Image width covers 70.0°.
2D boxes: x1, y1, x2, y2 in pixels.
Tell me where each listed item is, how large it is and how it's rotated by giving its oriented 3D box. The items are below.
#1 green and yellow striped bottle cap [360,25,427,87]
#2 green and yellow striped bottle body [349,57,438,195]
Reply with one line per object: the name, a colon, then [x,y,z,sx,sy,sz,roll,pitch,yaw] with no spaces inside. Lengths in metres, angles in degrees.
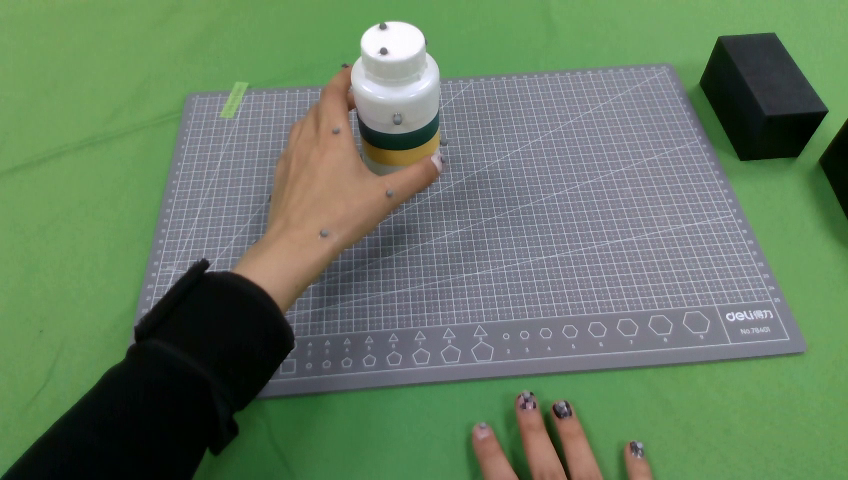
green and yellow striped bottle cap: [-0.021,-0.125,0.409,0.045,0.020,0.045,-1,55,2]
green and yellow striped bottle body: [-0.021,-0.094,0.451,0.063,0.121,0.062,-1,54,1]
